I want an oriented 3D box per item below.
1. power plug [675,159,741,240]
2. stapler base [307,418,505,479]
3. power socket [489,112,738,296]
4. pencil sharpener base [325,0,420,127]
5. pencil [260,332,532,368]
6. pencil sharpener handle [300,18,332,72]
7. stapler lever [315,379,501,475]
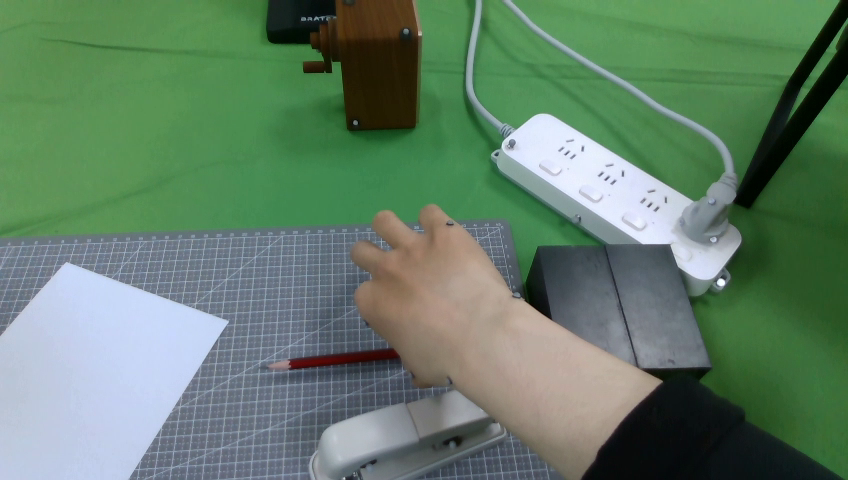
[{"bbox_3d":[0.235,-0.025,0.489,0.072,0.053,0.035,-30,61,-21],"label":"power plug"},{"bbox_3d":[-0.011,0.129,0.393,0.131,0.024,0.041,-16,58,-16],"label":"stapler base"},{"bbox_3d":[0.159,-0.037,0.522,0.225,0.033,0.072,38,60,22],"label":"power socket"},{"bbox_3d":[-0.047,-0.160,0.549,0.077,0.108,0.060,-5,55,-7],"label":"pencil sharpener base"},{"bbox_3d":[-0.017,0.079,0.432,0.194,0.012,0.012,-4,55,-8],"label":"pencil"},{"bbox_3d":[-0.097,-0.168,0.535,0.031,0.068,0.036,-5,76,-6],"label":"pencil sharpener handle"},{"bbox_3d":[-0.008,0.113,0.373,0.118,0.040,0.026,-16,58,-17],"label":"stapler lever"}]
